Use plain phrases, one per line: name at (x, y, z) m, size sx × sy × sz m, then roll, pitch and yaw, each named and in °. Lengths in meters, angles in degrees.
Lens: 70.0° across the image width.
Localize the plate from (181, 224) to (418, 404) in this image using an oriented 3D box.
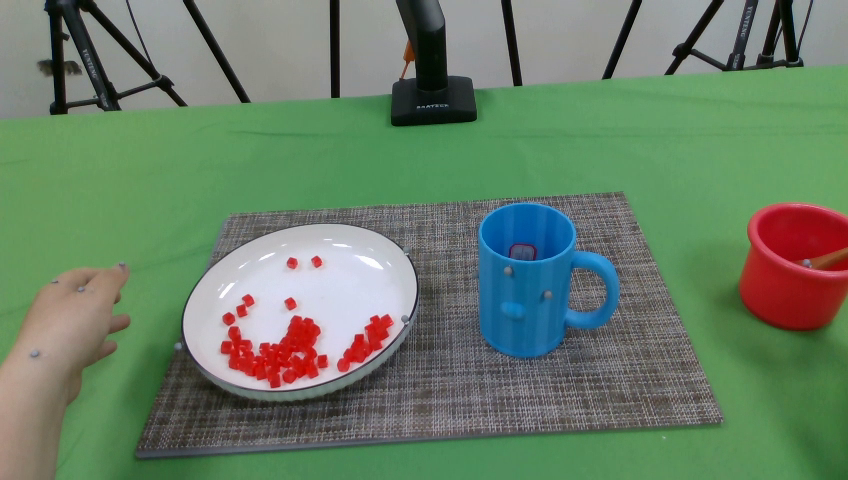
plate at (-0.107, 0.063, 0.545) m, size 0.207 × 0.039 × 0.205 m, roll -3°, pitch 40°, yaw 2°

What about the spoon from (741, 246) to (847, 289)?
spoon at (0.353, 0.009, 0.487) m, size 0.041 × 0.193 × 0.021 m, roll -38°, pitch 95°, yaw -39°

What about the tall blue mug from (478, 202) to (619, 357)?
tall blue mug at (0.099, 0.032, 0.506) m, size 0.107 × 0.109 × 0.077 m, roll -7°, pitch 39°, yaw -3°
